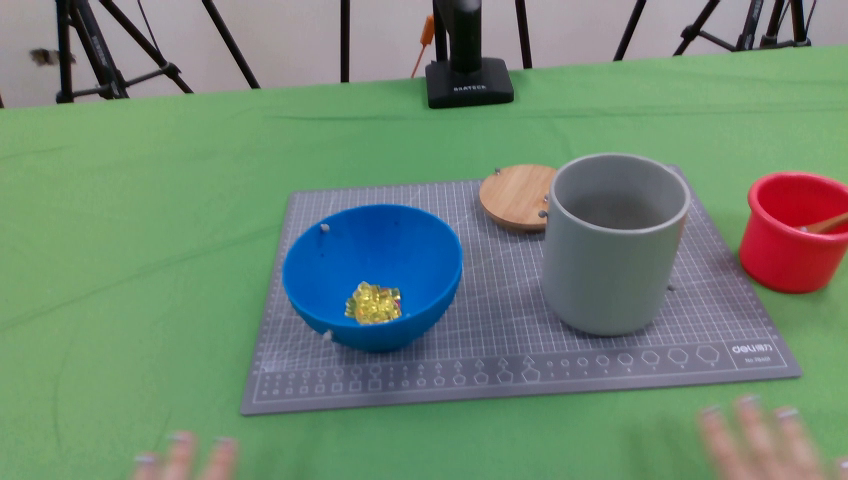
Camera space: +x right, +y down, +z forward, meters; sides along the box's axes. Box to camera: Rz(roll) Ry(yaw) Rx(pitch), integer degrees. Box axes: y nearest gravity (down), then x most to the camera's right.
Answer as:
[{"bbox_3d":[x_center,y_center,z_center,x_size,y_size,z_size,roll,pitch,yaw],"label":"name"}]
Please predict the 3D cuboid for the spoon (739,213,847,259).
[{"bbox_3d":[0.365,-0.017,0.512,0.022,0.193,0.041,51,51,-9],"label":"spoon"}]

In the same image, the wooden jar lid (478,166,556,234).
[{"bbox_3d":[0.112,-0.043,0.655,0.108,0.021,0.107,-3,40,3],"label":"wooden jar lid"}]

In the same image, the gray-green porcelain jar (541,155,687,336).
[{"bbox_3d":[0.153,0.009,0.509,0.106,0.128,0.105,-3,41,3],"label":"gray-green porcelain jar"}]

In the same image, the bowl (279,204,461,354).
[{"bbox_3d":[-0.041,0.045,0.523,0.151,0.077,0.150,-2,41,2],"label":"bowl"}]
